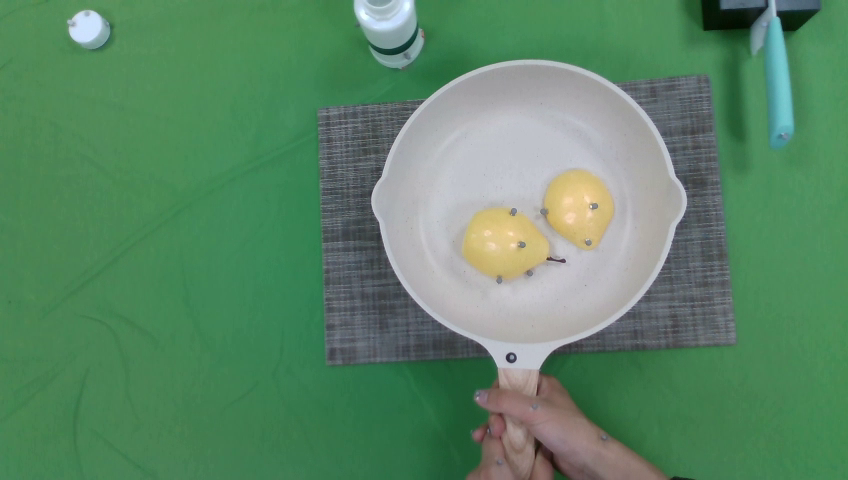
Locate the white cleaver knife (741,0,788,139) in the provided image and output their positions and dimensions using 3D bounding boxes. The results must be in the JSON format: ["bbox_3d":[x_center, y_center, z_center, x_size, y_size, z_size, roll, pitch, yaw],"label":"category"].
[{"bbox_3d":[0.362,-0.248,0.654,0.021,0.066,0.285,-2,82,10],"label":"white cleaver knife"}]

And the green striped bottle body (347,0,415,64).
[{"bbox_3d":[-0.046,-0.245,0.661,0.063,0.119,0.063,0,84,5],"label":"green striped bottle body"}]

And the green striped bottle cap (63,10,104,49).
[{"bbox_3d":[-0.417,-0.258,0.743,0.044,0.020,0.044,-1,84,5],"label":"green striped bottle cap"}]

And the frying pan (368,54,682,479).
[{"bbox_3d":[0.092,0.058,0.598,0.306,0.103,0.485,1,74,10],"label":"frying pan"}]

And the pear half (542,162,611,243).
[{"bbox_3d":[0.161,-0.042,0.636,0.070,0.031,0.087,-17,76,11],"label":"pear half"}]

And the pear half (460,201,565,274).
[{"bbox_3d":[0.094,0.000,0.630,0.109,0.056,0.076,12,90,9],"label":"pear half"}]
